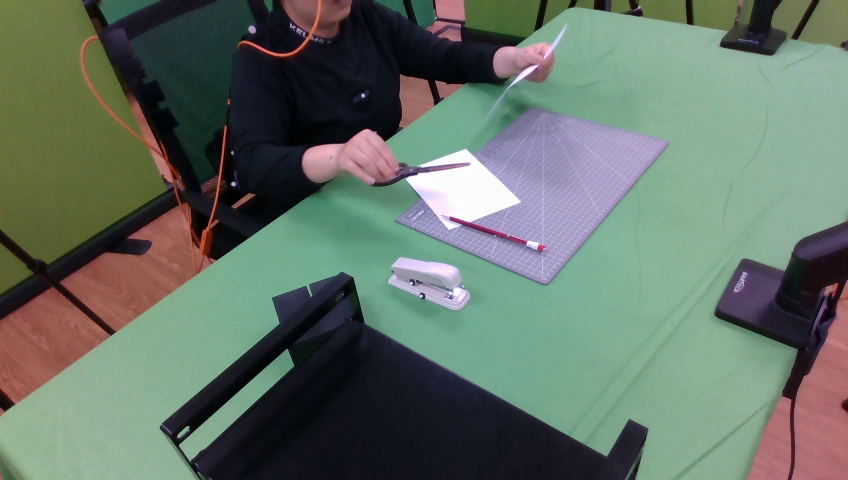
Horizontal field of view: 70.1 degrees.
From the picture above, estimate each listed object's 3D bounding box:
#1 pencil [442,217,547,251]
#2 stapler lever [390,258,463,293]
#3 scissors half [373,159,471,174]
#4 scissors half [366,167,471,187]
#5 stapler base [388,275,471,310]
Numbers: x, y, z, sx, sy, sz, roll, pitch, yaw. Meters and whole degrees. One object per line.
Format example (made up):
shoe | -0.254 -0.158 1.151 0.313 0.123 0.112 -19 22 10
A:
pencil | 0.110 -0.012 0.979 0.192 0.012 0.012 18 46 30
stapler lever | 0.002 0.046 0.881 0.117 0.040 0.027 17 44 29
scissors half | -0.004 -0.116 0.976 0.174 0.013 0.040 7 39 28
scissors half | -0.011 -0.104 0.961 0.174 0.013 0.040 -5 40 15
stapler base | 0.007 0.066 0.897 0.129 0.024 0.041 17 43 29
